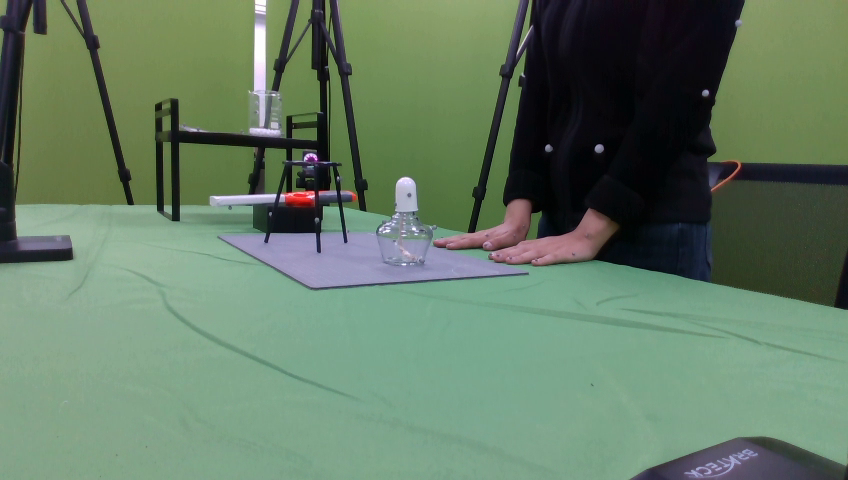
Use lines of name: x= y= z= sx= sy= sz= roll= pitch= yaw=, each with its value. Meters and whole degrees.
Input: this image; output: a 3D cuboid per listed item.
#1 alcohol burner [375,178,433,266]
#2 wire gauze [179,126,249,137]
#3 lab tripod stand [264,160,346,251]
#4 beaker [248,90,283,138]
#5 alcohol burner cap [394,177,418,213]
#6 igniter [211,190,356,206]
alcohol burner: x=-0.026 y=-0.025 z=0.815 sx=0.078 sy=0.119 sz=0.078 roll=4 pitch=7 yaw=0
wire gauze: x=-0.439 y=-0.227 z=1.266 sx=0.122 sy=0.011 sz=0.124 roll=0 pitch=9 yaw=-34
lab tripod stand: x=-0.177 y=-0.057 z=0.930 sx=0.148 sy=0.131 sz=0.148 roll=1 pitch=9 yaw=0
beaker: x=-0.354 y=-0.278 z=1.340 sx=0.074 sy=0.100 sz=0.084 roll=6 pitch=9 yaw=25
alcohol burner cap: x=-0.025 y=-0.060 z=0.809 sx=0.034 sy=0.048 sz=0.034 roll=-4 pitch=10 yaw=1
igniter: x=-0.260 y=-0.080 z=1.151 sx=0.278 sy=0.025 sz=0.057 roll=-5 pitch=13 yaw=-34
